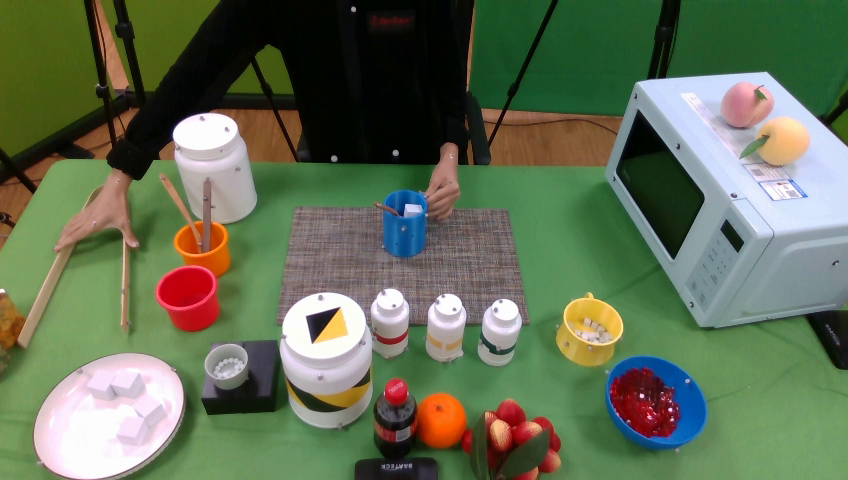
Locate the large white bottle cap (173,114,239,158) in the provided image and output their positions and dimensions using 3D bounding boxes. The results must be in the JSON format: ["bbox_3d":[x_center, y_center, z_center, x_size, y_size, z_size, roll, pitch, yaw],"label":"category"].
[{"bbox_3d":[-0.403,-0.195,1.122,0.115,0.018,0.114,2,47,-2],"label":"large white bottle cap"}]

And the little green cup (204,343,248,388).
[{"bbox_3d":[-0.294,0.190,0.909,0.061,0.039,0.061,1,48,-1],"label":"little green cup"}]

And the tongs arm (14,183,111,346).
[{"bbox_3d":[-0.655,0.028,1.110,0.028,0.028,0.385,-3,45,1],"label":"tongs arm"}]

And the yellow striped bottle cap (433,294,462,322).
[{"bbox_3d":[0.037,0.107,0.958,0.044,0.019,0.044,2,45,-2],"label":"yellow striped bottle cap"}]

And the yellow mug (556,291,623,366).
[{"bbox_3d":[0.285,0.145,1.051,0.100,0.064,0.130,7,46,3],"label":"yellow mug"}]

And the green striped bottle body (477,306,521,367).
[{"bbox_3d":[0.124,0.151,0.995,0.063,0.120,0.063,2,46,-2],"label":"green striped bottle body"}]

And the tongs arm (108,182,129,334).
[{"bbox_3d":[-0.572,0.019,1.124,0.051,0.026,0.382,-11,47,-12],"label":"tongs arm"}]

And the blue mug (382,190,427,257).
[{"bbox_3d":[-0.030,-0.040,1.172,0.082,0.106,0.116,30,51,22],"label":"blue mug"}]

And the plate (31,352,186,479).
[{"bbox_3d":[-0.459,0.262,0.898,0.209,0.038,0.208,2,46,-2],"label":"plate"}]

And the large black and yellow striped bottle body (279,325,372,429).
[{"bbox_3d":[-0.143,0.181,0.900,0.131,0.185,0.130,2,46,-2],"label":"large black and yellow striped bottle body"}]

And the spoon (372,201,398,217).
[{"bbox_3d":[-0.059,-0.045,1.115,0.041,0.194,0.021,35,87,21],"label":"spoon"}]

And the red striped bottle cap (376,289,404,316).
[{"bbox_3d":[-0.055,0.098,0.959,0.044,0.018,0.044,0,48,0],"label":"red striped bottle cap"}]

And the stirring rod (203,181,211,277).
[{"bbox_3d":[-0.396,-0.021,1.107,0.014,0.006,0.176,-1,89,0],"label":"stirring rod"}]

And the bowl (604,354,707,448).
[{"bbox_3d":[0.346,0.261,0.937,0.151,0.077,0.150,2,46,-2],"label":"bowl"}]

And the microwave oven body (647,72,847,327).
[{"bbox_3d":[0.607,-0.089,1.164,0.326,0.261,0.438,-7,46,-10],"label":"microwave oven body"}]

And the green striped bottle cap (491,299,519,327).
[{"bbox_3d":[0.128,0.115,0.958,0.044,0.020,0.044,0,45,0],"label":"green striped bottle cap"}]

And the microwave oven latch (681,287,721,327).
[{"bbox_3d":[0.494,0.119,1.087,0.030,0.029,0.078,-6,46,-9],"label":"microwave oven latch"}]

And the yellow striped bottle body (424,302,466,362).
[{"bbox_3d":[0.035,0.143,0.995,0.063,0.121,0.062,3,46,-3],"label":"yellow striped bottle body"}]

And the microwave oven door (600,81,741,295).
[{"bbox_3d":[0.454,-0.107,1.161,0.039,0.245,0.353,-6,47,-11],"label":"microwave oven door"}]

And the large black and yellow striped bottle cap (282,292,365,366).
[{"bbox_3d":[-0.139,0.121,0.841,0.115,0.019,0.114,3,47,-3],"label":"large black and yellow striped bottle cap"}]

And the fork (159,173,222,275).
[{"bbox_3d":[-0.427,-0.029,1.103,0.028,0.018,0.207,-31,99,-31],"label":"fork"}]

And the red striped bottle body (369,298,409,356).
[{"bbox_3d":[-0.058,0.134,0.997,0.063,0.120,0.062,4,47,-4],"label":"red striped bottle body"}]

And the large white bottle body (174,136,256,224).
[{"bbox_3d":[-0.408,-0.136,1.183,0.131,0.185,0.130,2,46,-2],"label":"large white bottle body"}]
